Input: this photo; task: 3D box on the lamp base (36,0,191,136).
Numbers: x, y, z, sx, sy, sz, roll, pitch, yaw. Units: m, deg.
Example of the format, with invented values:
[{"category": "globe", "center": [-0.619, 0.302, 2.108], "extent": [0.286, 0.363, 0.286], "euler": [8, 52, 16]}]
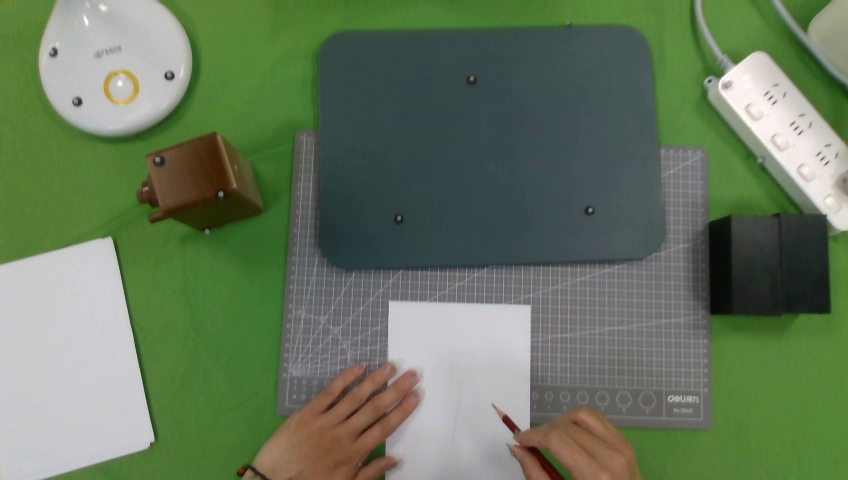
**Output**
[{"category": "lamp base", "center": [-0.338, -0.210, 0.577], "extent": [0.160, 0.181, 0.178], "euler": [-29, 81, -5]}]

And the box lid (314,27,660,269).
[{"category": "box lid", "center": [0.068, -0.103, 0.660], "extent": [0.372, 0.015, 0.262], "euler": [-2, 83, -2]}]

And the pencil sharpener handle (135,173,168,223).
[{"category": "pencil sharpener handle", "center": [-0.263, -0.036, 0.581], "extent": [0.030, 0.068, 0.035], "euler": [-19, 70, -3]}]

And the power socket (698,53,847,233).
[{"category": "power socket", "center": [0.397, -0.106, 0.659], "extent": [0.072, 0.032, 0.226], "euler": [-38, 85, -6]}]

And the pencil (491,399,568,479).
[{"category": "pencil", "center": [0.113, 0.197, 0.503], "extent": [0.012, 0.012, 0.192], "euler": [-41, 46, -6]}]

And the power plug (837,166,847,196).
[{"category": "power plug", "center": [0.467, -0.070, 0.634], "extent": [0.072, 0.053, 0.035], "euler": [-27, 81, -9]}]

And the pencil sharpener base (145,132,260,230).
[{"category": "pencil sharpener base", "center": [-0.216, -0.054, 0.598], "extent": [0.077, 0.107, 0.061], "euler": [-19, 83, -3]}]

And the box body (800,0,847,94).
[{"category": "box body", "center": [0.615, -0.190, 0.611], "extent": [0.254, 0.161, 0.363], "euler": [-42, 85, -6]}]
